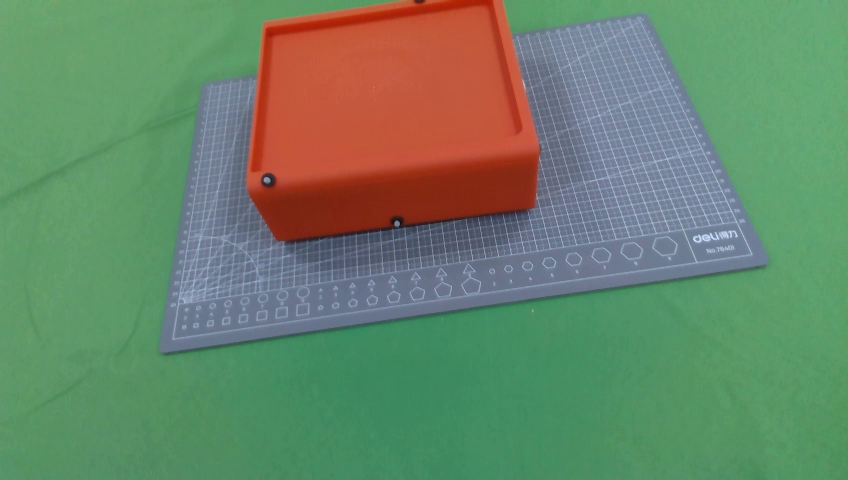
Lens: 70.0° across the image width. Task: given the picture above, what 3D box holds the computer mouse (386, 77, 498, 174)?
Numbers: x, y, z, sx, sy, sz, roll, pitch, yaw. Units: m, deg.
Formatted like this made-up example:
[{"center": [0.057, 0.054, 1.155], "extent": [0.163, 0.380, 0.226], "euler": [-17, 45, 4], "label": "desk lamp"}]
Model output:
[{"center": [0.016, -0.104, 0.512], "extent": [0.062, 0.041, 0.116], "euler": [12, 51, 24], "label": "computer mouse"}]

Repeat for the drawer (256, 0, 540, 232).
[{"center": [-0.022, -0.112, 0.508], "extent": [0.212, 0.074, 0.192], "euler": [-8, 56, 3], "label": "drawer"}]

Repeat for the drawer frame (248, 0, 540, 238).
[{"center": [-0.024, -0.112, 0.506], "extent": [0.213, 0.083, 0.199], "euler": [-8, 57, 3], "label": "drawer frame"}]
